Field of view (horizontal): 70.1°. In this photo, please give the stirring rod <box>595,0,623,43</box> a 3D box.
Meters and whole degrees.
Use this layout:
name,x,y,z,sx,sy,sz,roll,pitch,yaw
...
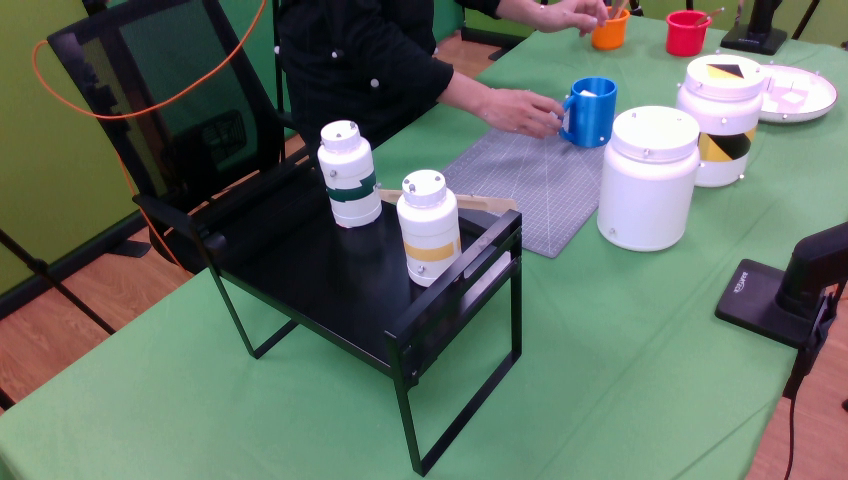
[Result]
name,x,y,z,sx,sy,sz,roll,pitch,yaw
stirring rod,0.460,-0.556,1.459,0.014,0.006,0.176,29,93,22

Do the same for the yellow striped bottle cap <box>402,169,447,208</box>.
name,x,y,z,sx,sy,sz,roll,pitch,yaw
yellow striped bottle cap,0.000,-0.052,0.605,0.044,0.019,0.044,-5,43,5

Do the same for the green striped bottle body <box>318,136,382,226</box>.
name,x,y,z,sx,sy,sz,roll,pitch,yaw
green striped bottle body,-0.090,-0.080,0.733,0.063,0.120,0.063,-5,41,5

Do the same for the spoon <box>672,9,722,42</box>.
name,x,y,z,sx,sy,sz,roll,pitch,yaw
spoon,0.606,-0.476,1.345,0.042,0.021,0.193,-6,-3,-2

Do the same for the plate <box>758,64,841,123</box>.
name,x,y,z,sx,sy,sz,roll,pitch,yaw
plate,0.694,-0.283,1.189,0.207,0.039,0.206,-4,40,4

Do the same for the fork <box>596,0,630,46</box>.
name,x,y,z,sx,sy,sz,roll,pitch,yaw
fork,0.480,-0.556,1.452,0.028,0.019,0.207,40,103,40

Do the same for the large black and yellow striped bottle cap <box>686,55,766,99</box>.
name,x,y,z,sx,sy,sz,roll,pitch,yaw
large black and yellow striped bottle cap,0.474,-0.258,0.952,0.115,0.019,0.114,-5,41,5

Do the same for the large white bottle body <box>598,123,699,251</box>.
name,x,y,z,sx,sy,sz,roll,pitch,yaw
large white bottle body,0.334,-0.090,0.906,0.130,0.185,0.130,-5,41,5

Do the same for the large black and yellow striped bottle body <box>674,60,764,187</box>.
name,x,y,z,sx,sy,sz,roll,pitch,yaw
large black and yellow striped bottle body,0.482,-0.196,1.008,0.131,0.185,0.130,-4,41,4

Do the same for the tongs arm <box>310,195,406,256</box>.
name,x,y,z,sx,sy,sz,roll,pitch,yaw
tongs arm,-0.078,-0.013,0.944,0.028,0.028,0.384,-42,39,-23

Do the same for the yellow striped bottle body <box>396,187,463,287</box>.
name,x,y,z,sx,sy,sz,roll,pitch,yaw
yellow striped bottle body,0.006,-0.013,0.638,0.063,0.121,0.062,-5,41,5

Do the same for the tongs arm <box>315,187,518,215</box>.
name,x,y,z,sx,sy,sz,roll,pitch,yaw
tongs arm,-0.028,-0.060,0.988,0.382,0.027,0.051,10,45,36

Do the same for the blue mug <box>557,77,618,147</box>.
name,x,y,z,sx,sy,sz,roll,pitch,yaw
blue mug,0.303,-0.237,1.139,0.117,0.106,0.081,-20,42,-13

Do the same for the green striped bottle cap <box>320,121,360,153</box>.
name,x,y,z,sx,sy,sz,roll,pitch,yaw
green striped bottle cap,-0.097,-0.119,0.699,0.044,0.020,0.044,-4,40,4

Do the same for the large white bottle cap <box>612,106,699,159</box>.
name,x,y,z,sx,sy,sz,roll,pitch,yaw
large white bottle cap,0.325,-0.153,0.850,0.115,0.018,0.114,-4,41,4
